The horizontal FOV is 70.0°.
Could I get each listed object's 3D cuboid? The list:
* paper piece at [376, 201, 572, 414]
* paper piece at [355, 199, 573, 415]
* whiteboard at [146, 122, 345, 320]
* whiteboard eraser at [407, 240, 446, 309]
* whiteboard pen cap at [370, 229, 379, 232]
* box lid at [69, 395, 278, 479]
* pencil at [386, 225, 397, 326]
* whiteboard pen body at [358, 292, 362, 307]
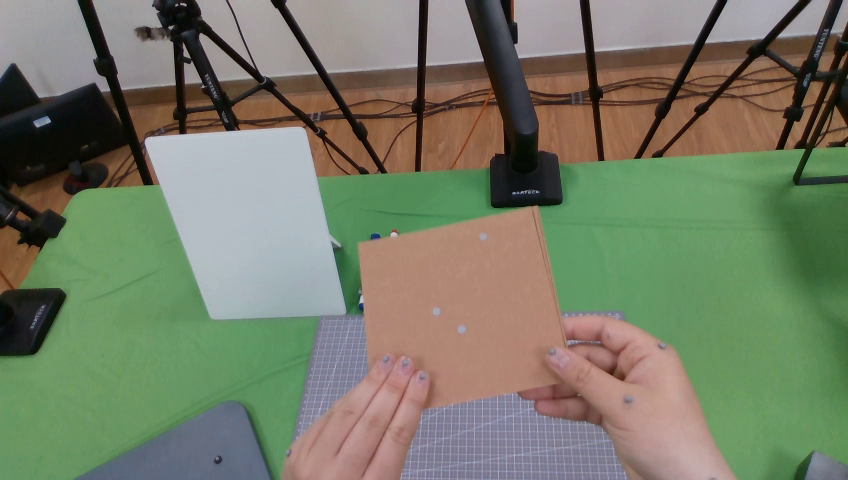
[{"bbox_3d":[0.028,0.048,0.440,0.136,0.009,0.137,-16,66,21],"label":"paper piece"},{"bbox_3d":[0.021,0.042,0.422,0.135,0.004,0.134,-12,64,8],"label":"paper piece"},{"bbox_3d":[-0.233,-0.046,0.908,0.217,0.308,0.142,-2,32,8],"label":"whiteboard"},{"bbox_3d":[0.004,0.052,0.921,0.055,0.042,0.111,-3,51,8],"label":"whiteboard eraser"},{"bbox_3d":[-0.081,-0.001,0.992,0.018,0.018,0.033,-3,49,7],"label":"whiteboard pen cap"},{"bbox_3d":[-0.284,0.381,0.718,0.263,0.015,0.367,-27,52,-12],"label":"box lid"},{"bbox_3d":[-0.052,0.052,0.950,0.012,0.012,0.192,-4,51,6],"label":"pencil"},{"bbox_3d":[-0.087,0.045,0.957,0.017,0.017,0.139,-1,51,9],"label":"whiteboard pen body"}]
